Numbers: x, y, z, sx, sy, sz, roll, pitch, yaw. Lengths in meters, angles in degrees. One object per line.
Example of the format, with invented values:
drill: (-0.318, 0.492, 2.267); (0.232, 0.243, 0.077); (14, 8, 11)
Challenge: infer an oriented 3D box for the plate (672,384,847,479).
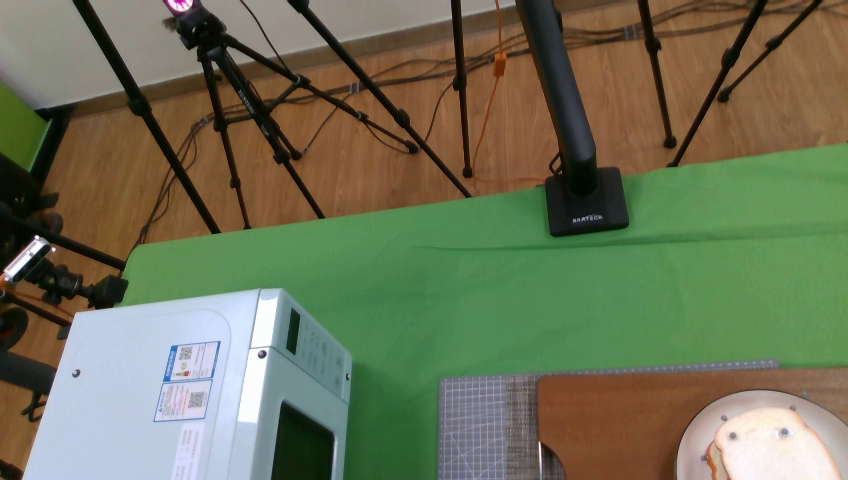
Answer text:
plate: (0.386, 0.266, 0.674); (0.207, 0.039, 0.205); (-8, 58, 14)

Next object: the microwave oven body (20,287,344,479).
microwave oven body: (-0.296, 0.321, 0.759); (0.325, 0.263, 0.437); (-8, 59, 13)

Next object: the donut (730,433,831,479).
donut: (0.379, 0.258, 0.646); (0.099, 0.049, 0.098); (-4, 63, 9)

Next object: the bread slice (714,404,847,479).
bread slice: (0.367, 0.237, 0.626); (0.107, 0.018, 0.133); (-24, 49, 4)

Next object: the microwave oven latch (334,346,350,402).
microwave oven latch: (-0.126, 0.199, 0.895); (0.030, 0.030, 0.078); (-7, 59, 13)

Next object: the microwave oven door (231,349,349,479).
microwave oven door: (-0.157, 0.334, 0.700); (0.039, 0.246, 0.352); (-9, 58, 14)

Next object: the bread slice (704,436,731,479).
bread slice: (0.380, 0.269, 0.679); (0.105, 0.019, 0.130); (-21, 58, 3)
